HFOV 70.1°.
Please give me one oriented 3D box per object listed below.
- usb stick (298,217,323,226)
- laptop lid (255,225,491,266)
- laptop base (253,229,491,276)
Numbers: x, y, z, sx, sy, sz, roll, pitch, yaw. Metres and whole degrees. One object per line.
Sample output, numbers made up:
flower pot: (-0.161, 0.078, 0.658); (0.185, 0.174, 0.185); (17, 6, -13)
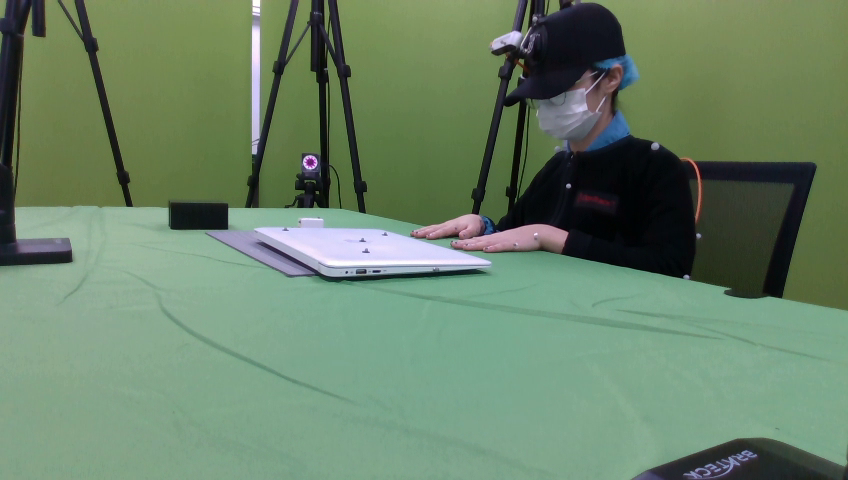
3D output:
usb stick: (-0.223, -0.030, 1.150); (0.059, 0.027, 0.021); (-5, 11, -29)
laptop lid: (-0.092, 0.003, 0.888); (0.243, 0.013, 0.355); (1, 8, -28)
laptop base: (-0.095, 0.015, 0.889); (0.237, 0.023, 0.352); (2, 7, -30)
